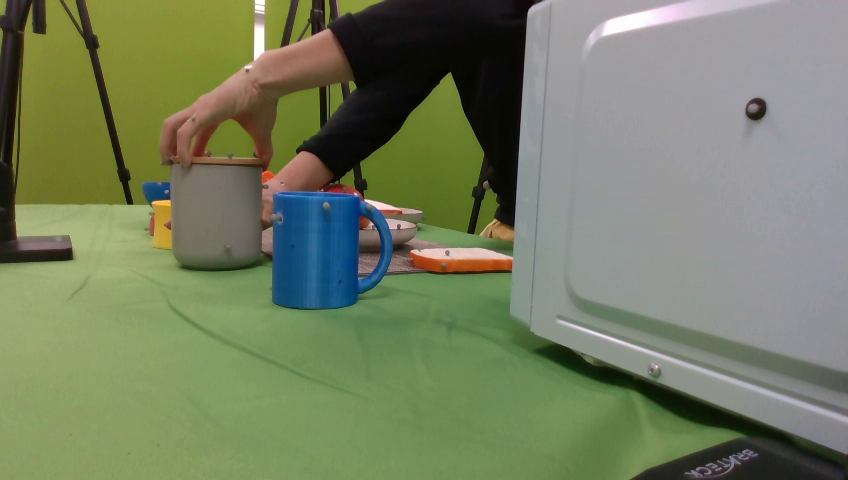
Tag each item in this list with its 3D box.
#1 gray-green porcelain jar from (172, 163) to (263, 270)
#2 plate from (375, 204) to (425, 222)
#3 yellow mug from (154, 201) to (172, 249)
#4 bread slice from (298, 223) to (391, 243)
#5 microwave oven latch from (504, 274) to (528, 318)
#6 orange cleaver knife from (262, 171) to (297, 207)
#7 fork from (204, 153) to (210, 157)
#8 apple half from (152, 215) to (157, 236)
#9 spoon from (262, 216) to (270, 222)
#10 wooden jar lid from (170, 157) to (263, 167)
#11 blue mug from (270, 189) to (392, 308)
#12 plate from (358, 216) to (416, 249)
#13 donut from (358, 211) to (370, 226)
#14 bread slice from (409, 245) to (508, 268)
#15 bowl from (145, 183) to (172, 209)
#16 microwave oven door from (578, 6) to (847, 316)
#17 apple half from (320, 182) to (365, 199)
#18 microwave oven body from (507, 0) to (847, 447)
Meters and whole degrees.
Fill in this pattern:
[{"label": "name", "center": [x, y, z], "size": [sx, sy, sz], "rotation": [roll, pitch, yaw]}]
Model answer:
[{"label": "gray-green porcelain jar", "center": [-0.256, -0.031, 0.751], "size": [0.106, 0.126, 0.106], "rotation": [3, 6, 0]}, {"label": "plate", "center": [-0.102, -0.053, 1.299], "size": [0.209, 0.038, 0.209], "rotation": [2, 8, 0]}, {"label": "yellow mug", "center": [-0.337, -0.023, 0.899], "size": [0.130, 0.064, 0.100], "rotation": [8, 9, 34]}, {"label": "bread slice", "center": [-0.121, -0.013, 0.970], "size": [0.106, 0.018, 0.135], "rotation": [9, 11, 41]}, {"label": "microwave oven latch", "center": [0.100, 0.041, 0.470], "size": [0.079, 0.029, 0.030], "rotation": [-1, 7, -27]}, {"label": "orange cleaver knife", "center": [-0.283, -0.086, 1.343], "size": [0.212, 0.077, 0.012], "rotation": [24, -16, -41]}, {"label": "fork", "center": [-0.480, -0.135, 1.411], "size": [0.028, 0.018, 0.207], "rotation": [1, -34, -1]}, {"label": "apple half", "center": [-0.415, -0.034, 1.017], "size": [0.081, 0.053, 0.074], "rotation": [1, 10, -8]}, {"label": "spoon", "center": [-0.200, -0.031, 0.962], "size": [0.041, 0.021, 0.195], "rotation": [9, 1, 31]}, {"label": "wooden jar lid", "center": [-0.254, -0.092, 0.743], "size": [0.108, 0.020, 0.108], "rotation": [1, 9, 0]}, {"label": "blue mug", "center": [-0.089, 0.005, 0.588], "size": [0.117, 0.106, 0.082], "rotation": [0, 7, -10]}, {"label": "plate", "center": [-0.116, -0.014, 0.967], "size": [0.208, 0.039, 0.207], "rotation": [2, 7, 0]}, {"label": "donut", "center": [-0.132, -0.042, 0.959], "size": [0.099, 0.048, 0.099], "rotation": [2, 7, 0]}, {"label": "bread slice", "center": [0.048, 0.021, 0.816], "size": [0.132, 0.019, 0.104], "rotation": [0, 7, -24]}, {"label": "bowl", "center": [-0.459, -0.068, 1.175], "size": [0.151, 0.077, 0.151], "rotation": [3, 7, 0]}, {"label": "microwave oven door", "center": [0.294, -0.067, 0.570], "size": [0.358, 0.243, 0.039], "rotation": [-3, 9, -31]}, {"label": "apple half", "center": [-0.130, -0.076, 0.953], "size": [0.081, 0.033, 0.081], "rotation": [3, 14, 0]}, {"label": "microwave oven body", "center": [0.331, -0.042, 0.425], "size": [0.444, 0.260, 0.324], "rotation": [-2, 8, -31]}]
